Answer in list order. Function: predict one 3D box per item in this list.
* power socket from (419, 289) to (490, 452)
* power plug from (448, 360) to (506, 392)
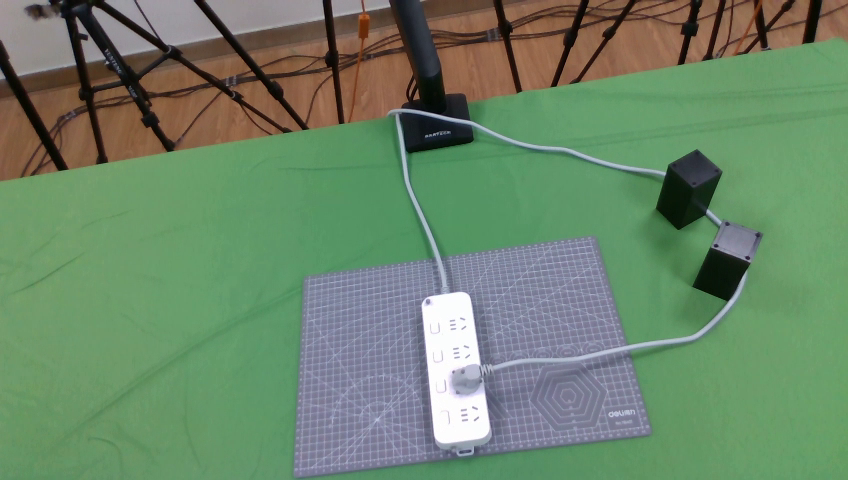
[{"bbox_3d":[0.038,0.164,0.805,0.072,0.033,0.224,-8,55,2],"label":"power socket"},{"bbox_3d":[0.067,0.176,0.770,0.072,0.053,0.035,1,58,7],"label":"power plug"}]
